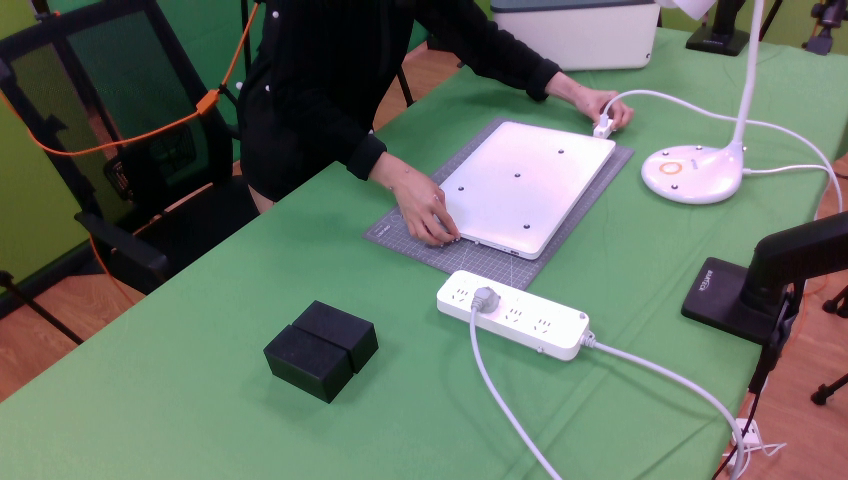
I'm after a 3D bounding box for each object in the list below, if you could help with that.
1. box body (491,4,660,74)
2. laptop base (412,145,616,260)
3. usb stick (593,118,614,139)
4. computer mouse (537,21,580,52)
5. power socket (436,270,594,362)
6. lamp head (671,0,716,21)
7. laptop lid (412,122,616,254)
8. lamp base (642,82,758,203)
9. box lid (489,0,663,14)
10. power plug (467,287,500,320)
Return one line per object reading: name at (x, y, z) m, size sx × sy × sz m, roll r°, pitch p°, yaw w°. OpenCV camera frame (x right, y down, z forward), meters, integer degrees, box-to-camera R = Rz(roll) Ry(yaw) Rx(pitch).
box body at (0.346, -0.520, 1.429) m, size 0.363 × 0.161 × 0.253 m, roll 0°, pitch 41°, yaw 9°
laptop base at (0.168, -0.101, 1.072) m, size 0.234 × 0.023 × 0.355 m, roll 16°, pitch 46°, yaw 30°
usb stick at (0.338, -0.205, 1.150) m, size 0.021 × 0.027 × 0.059 m, roll 25°, pitch 56°, yaw 27°
computer mouse at (0.335, -0.503, 1.487) m, size 0.118 × 0.041 × 0.062 m, roll 21°, pitch 20°, yaw -28°
power socket at (0.118, 0.101, 0.832) m, size 0.225 × 0.033 × 0.072 m, roll 19°, pitch 48°, yaw 27°
lamp head at (0.375, -0.373, 0.807) m, size 0.122 × 0.113 × 0.112 m, roll -40°, pitch 27°, yaw 32°
laptop lid at (0.165, -0.110, 1.066) m, size 0.240 × 0.013 × 0.357 m, roll 19°, pitch 46°, yaw 30°
lamp base at (0.464, -0.174, 0.992) m, size 0.179 × 0.181 × 0.159 m, roll -5°, pitch 41°, yaw -1°
box lid at (0.340, -0.575, 1.380) m, size 0.371 × 0.015 × 0.262 m, roll 0°, pitch 41°, yaw 9°
power plug at (0.073, 0.092, 0.814) m, size 0.035 × 0.053 × 0.073 m, roll 29°, pitch 54°, yaw 34°
